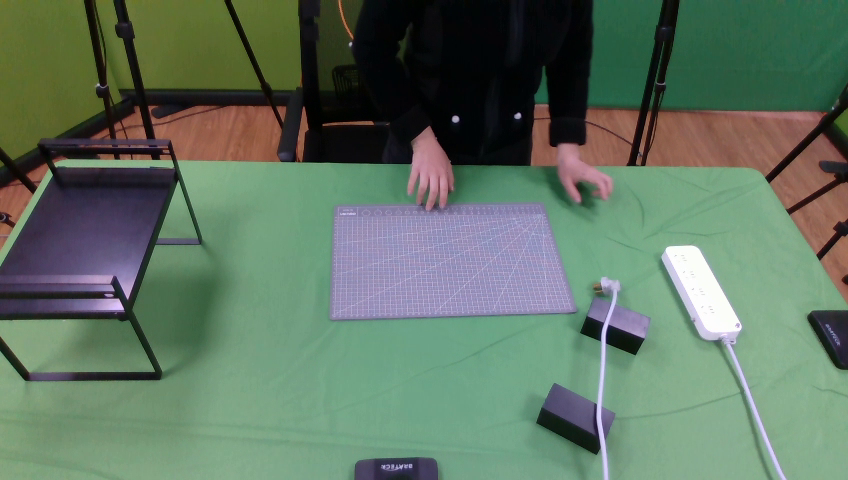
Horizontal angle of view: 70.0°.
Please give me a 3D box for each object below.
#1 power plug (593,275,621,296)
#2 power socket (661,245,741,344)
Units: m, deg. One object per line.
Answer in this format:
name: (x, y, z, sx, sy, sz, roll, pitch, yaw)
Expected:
power plug: (0.332, 0.085, 1.115, 0.052, 0.035, 0.073, -17, -5, 30)
power socket: (0.515, 0.094, 1.138, 0.072, 0.033, 0.225, -3, 47, -5)
